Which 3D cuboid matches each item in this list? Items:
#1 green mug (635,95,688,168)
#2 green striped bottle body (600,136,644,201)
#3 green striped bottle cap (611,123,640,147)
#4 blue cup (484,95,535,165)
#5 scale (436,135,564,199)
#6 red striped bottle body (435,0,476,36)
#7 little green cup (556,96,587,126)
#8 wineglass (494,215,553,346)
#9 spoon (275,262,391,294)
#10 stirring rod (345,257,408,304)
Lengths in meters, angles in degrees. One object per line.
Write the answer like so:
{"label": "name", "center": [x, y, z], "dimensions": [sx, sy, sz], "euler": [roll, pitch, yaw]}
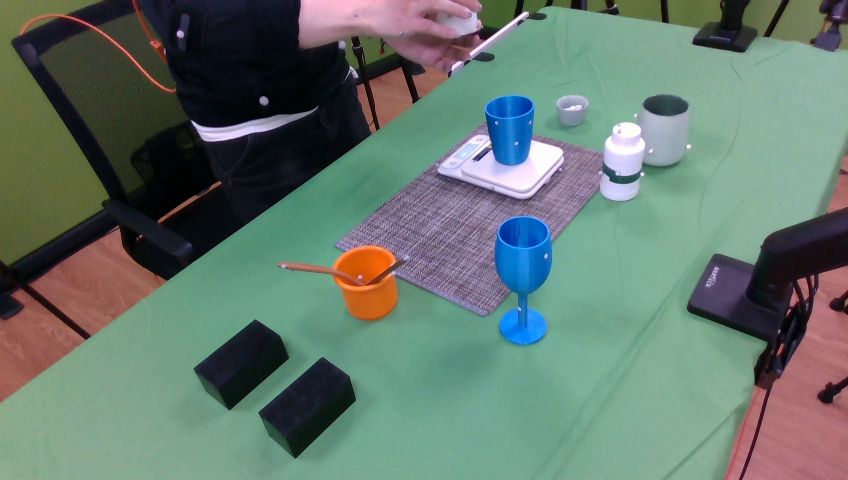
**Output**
{"label": "green mug", "center": [0.421, -0.201, 1.081], "dimensions": [0.092, 0.105, 0.125], "euler": [5, 42, 15]}
{"label": "green striped bottle body", "center": [0.326, -0.128, 0.997], "dimensions": [0.063, 0.120, 0.063], "euler": [-4, 41, 4]}
{"label": "green striped bottle cap", "center": [0.322, -0.168, 0.963], "dimensions": [0.044, 0.020, 0.044], "euler": [-3, 41, 3]}
{"label": "blue cup", "center": [0.150, -0.188, 1.053], "dimensions": [0.092, 0.100, 0.092], "euler": [-6, 39, 5]}
{"label": "scale", "center": [0.137, -0.142, 1.101], "dimensions": [0.199, 0.032, 0.149], "euler": [22, 48, 30]}
{"label": "red striped bottle body", "center": [0.045, -0.363, 0.870], "dimensions": [0.063, 0.120, 0.062], "euler": [-2, 40, 2]}
{"label": "little green cup", "center": [0.295, -0.258, 1.214], "dimensions": [0.061, 0.039, 0.061], "euler": [-4, 41, 4]}
{"label": "wineglass", "center": [0.126, 0.055, 0.770], "dimensions": [0.074, 0.173, 0.073], "euler": [-4, 40, 4]}
{"label": "spoon", "center": [-0.120, 0.050, 0.830], "dimensions": [0.041, 0.195, 0.021], "euler": [31, 97, 45]}
{"label": "stirring rod", "center": [-0.067, 0.057, 0.814], "dimensions": [0.014, 0.175, 0.006], "euler": [-25, 82, -38]}
